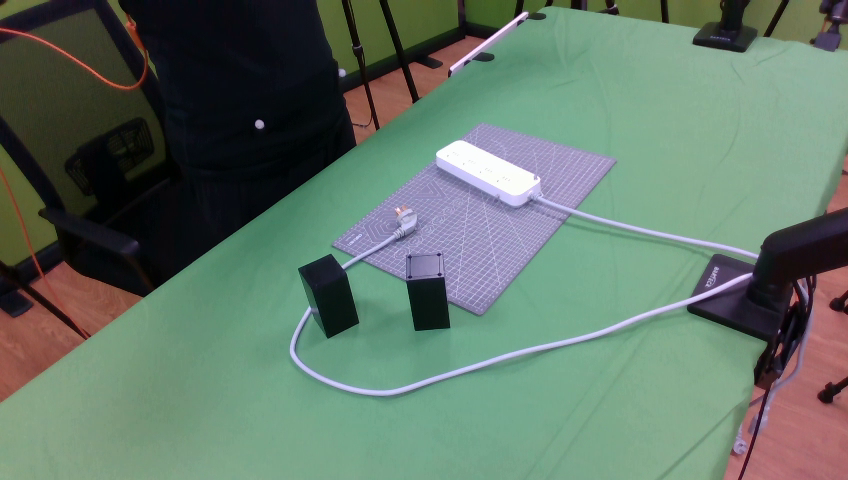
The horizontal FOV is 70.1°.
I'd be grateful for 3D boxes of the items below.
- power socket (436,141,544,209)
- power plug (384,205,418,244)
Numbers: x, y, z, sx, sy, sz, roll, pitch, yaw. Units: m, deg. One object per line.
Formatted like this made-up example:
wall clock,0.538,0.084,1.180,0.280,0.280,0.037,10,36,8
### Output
power socket,0.111,-0.120,1.082,0.072,0.033,0.224,-34,47,-27
power plug,-0.043,-0.030,0.991,0.073,0.035,0.052,-20,58,-31
